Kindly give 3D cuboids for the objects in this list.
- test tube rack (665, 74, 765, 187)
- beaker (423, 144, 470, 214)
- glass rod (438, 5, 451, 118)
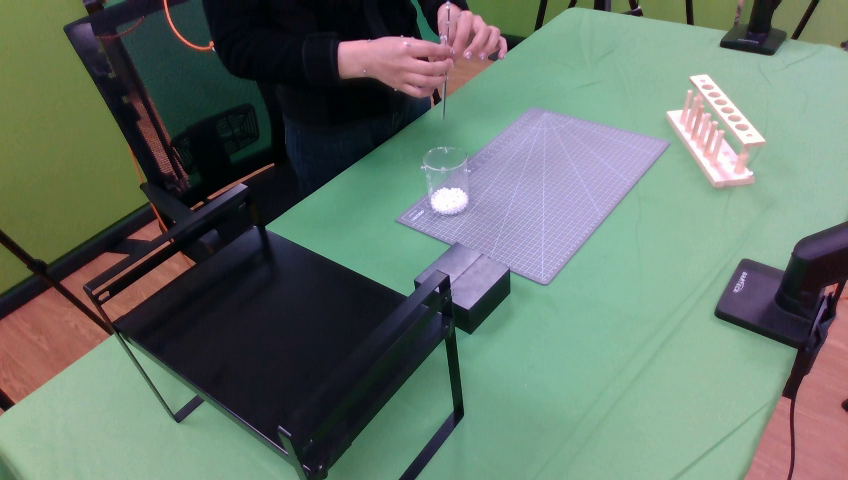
[{"bbox_3d":[0.512,-0.201,1.082,0.067,0.085,0.241,-6,41,2],"label":"test tube rack"},{"bbox_3d":[0.040,-0.102,1.023,0.074,0.101,0.083,-3,40,4],"label":"beaker"},{"bbox_3d":[0.032,-0.283,0.979,0.008,0.200,0.008,2,47,-2],"label":"glass rod"}]
